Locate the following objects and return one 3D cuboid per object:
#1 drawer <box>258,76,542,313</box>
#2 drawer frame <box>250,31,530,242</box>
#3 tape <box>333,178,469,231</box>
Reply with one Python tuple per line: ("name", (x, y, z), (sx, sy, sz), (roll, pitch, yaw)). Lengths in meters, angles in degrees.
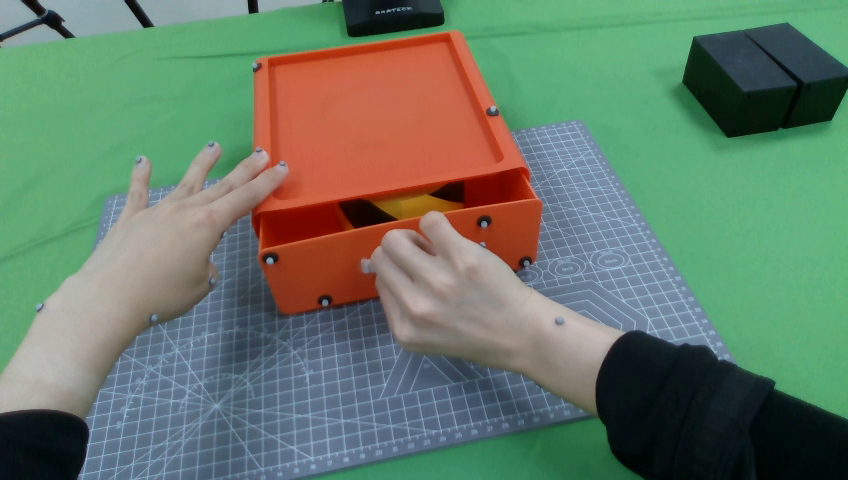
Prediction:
("drawer", (-0.031, -0.055, 0.493), (0.195, 0.074, 0.209), (-11, 46, -5))
("drawer frame", (-0.039, -0.081, 0.516), (0.202, 0.083, 0.211), (-11, 46, -5))
("tape", (-0.022, -0.050, 0.496), (0.117, 0.053, 0.115), (-2, 46, 3))
